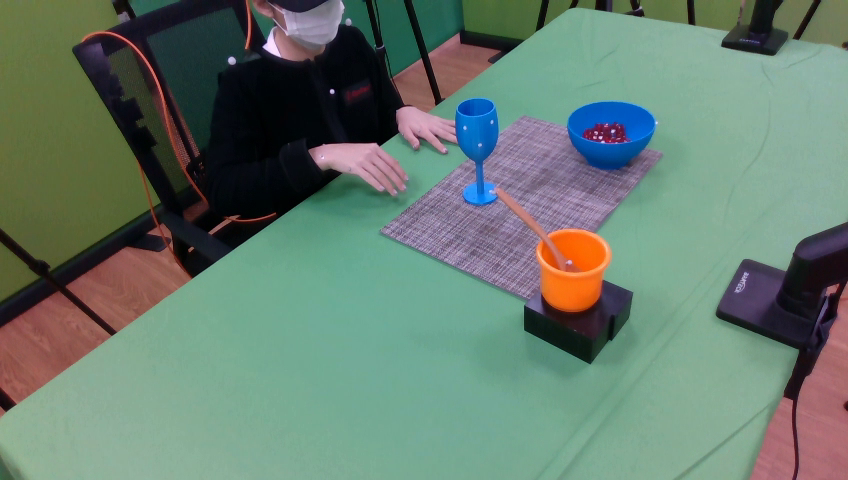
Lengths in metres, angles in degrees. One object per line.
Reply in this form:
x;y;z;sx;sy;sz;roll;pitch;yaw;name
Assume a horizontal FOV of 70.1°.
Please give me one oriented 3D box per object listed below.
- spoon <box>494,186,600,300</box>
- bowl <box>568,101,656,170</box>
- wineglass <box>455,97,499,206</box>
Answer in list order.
0.157;0.002;0.773;0.042;0.194;0.021;-45;8;-35;spoon
0.332;-0.179;1.084;0.151;0.077;0.150;-4;40;4;bowl
0.091;-0.145;1.009;0.074;0.173;0.073;-5;40;4;wineglass
